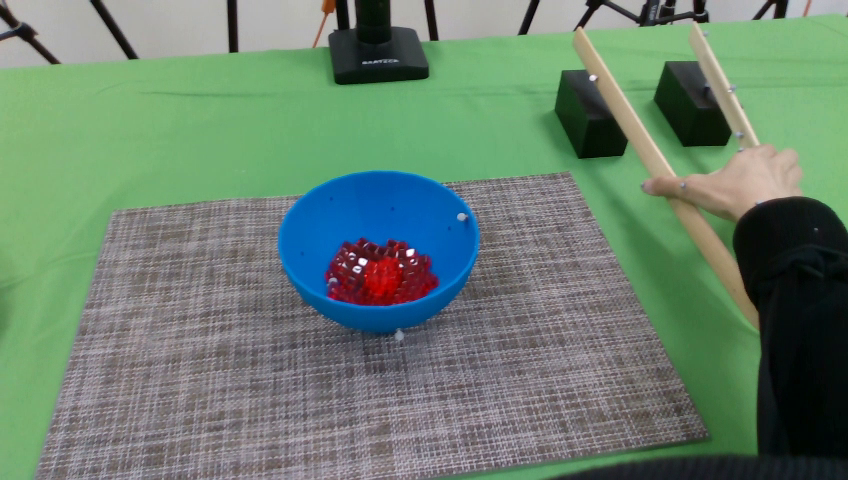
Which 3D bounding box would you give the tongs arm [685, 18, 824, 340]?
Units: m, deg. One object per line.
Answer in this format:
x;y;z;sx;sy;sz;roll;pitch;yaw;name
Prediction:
0.296;-0.085;0.584;0.051;0.027;0.381;-1;56;-7;tongs arm

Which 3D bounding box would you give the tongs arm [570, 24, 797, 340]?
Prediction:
0.222;-0.077;0.574;0.028;0.028;0.383;-9;57;-16;tongs arm

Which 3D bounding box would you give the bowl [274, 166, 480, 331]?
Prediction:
-0.035;0.018;0.476;0.151;0.077;0.150;1;45;-1;bowl
